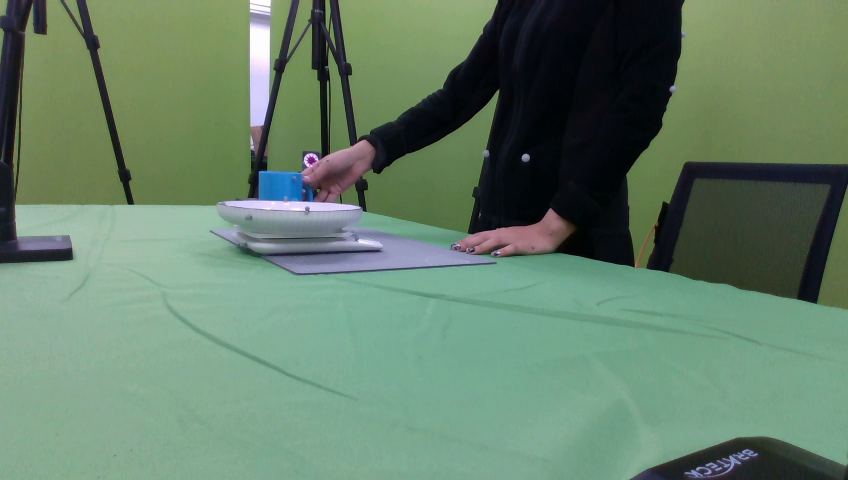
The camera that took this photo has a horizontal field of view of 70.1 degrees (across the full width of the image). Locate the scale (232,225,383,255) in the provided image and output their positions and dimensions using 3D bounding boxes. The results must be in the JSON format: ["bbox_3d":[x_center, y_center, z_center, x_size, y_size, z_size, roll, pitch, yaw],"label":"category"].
[{"bbox_3d":[-0.177,-0.004,0.920,0.202,0.031,0.148,-1,9,-30],"label":"scale"}]

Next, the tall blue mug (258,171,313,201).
[{"bbox_3d":[-0.256,-0.071,1.108,0.078,0.108,0.107,3,8,8],"label":"tall blue mug"}]

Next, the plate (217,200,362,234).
[{"bbox_3d":[-0.196,-0.035,0.894,0.209,0.038,0.209,2,7,0],"label":"plate"}]
